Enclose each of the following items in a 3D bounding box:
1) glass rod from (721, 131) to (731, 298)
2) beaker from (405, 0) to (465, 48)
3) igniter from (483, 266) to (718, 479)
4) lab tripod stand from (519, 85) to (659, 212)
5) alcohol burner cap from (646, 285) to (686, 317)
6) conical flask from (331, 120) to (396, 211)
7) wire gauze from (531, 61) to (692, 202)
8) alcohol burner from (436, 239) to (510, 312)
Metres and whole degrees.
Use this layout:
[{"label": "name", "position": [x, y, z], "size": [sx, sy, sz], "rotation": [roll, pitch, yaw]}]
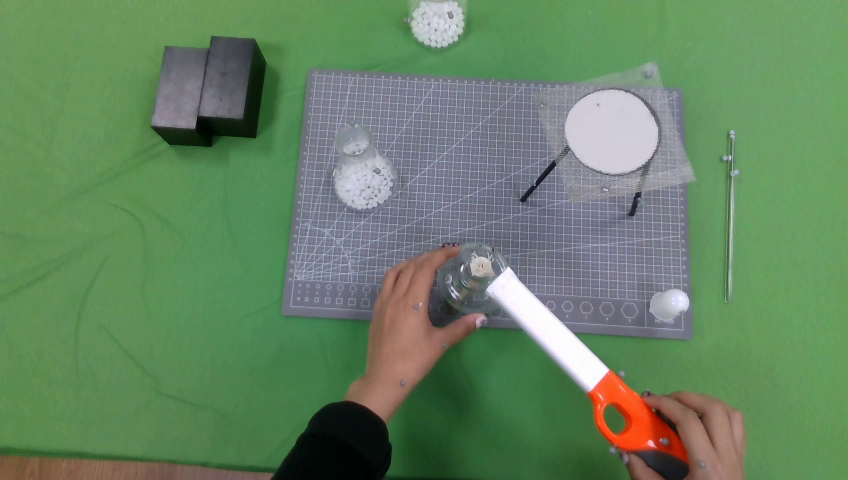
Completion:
[{"label": "glass rod", "position": [0.345, -0.032, 0.692], "size": [0.008, 0.008, 0.199], "rotation": [8, 76, 2]}, {"label": "beaker", "position": [0.015, -0.280, 0.703], "size": [0.084, 0.100, 0.073], "rotation": [-37, 79, -9]}, {"label": "igniter", "position": [0.159, 0.132, 0.542], "size": [0.057, 0.025, 0.276], "rotation": [-43, 85, -14]}, {"label": "lab tripod stand", "position": [0.177, -0.089, 0.638], "size": [0.148, 0.132, 0.147], "rotation": [0, 78, 1]}, {"label": "alcohol burner cap", "position": [0.262, 0.064, 0.649], "size": [0.034, 0.048, 0.033], "rotation": [0, 77, -1]}, {"label": "conical flask", "position": [-0.069, -0.083, 0.642], "size": [0.075, 0.122, 0.075], "rotation": [0, 76, 0]}, {"label": "wire gauze", "position": [0.176, -0.102, 0.572], "size": [0.125, 0.011, 0.121], "rotation": [-13, 77, -3]}, {"label": "alcohol burner", "position": [0.052, 0.033, 0.619], "size": [0.078, 0.119, 0.077], "rotation": [0, 76, -1]}]
